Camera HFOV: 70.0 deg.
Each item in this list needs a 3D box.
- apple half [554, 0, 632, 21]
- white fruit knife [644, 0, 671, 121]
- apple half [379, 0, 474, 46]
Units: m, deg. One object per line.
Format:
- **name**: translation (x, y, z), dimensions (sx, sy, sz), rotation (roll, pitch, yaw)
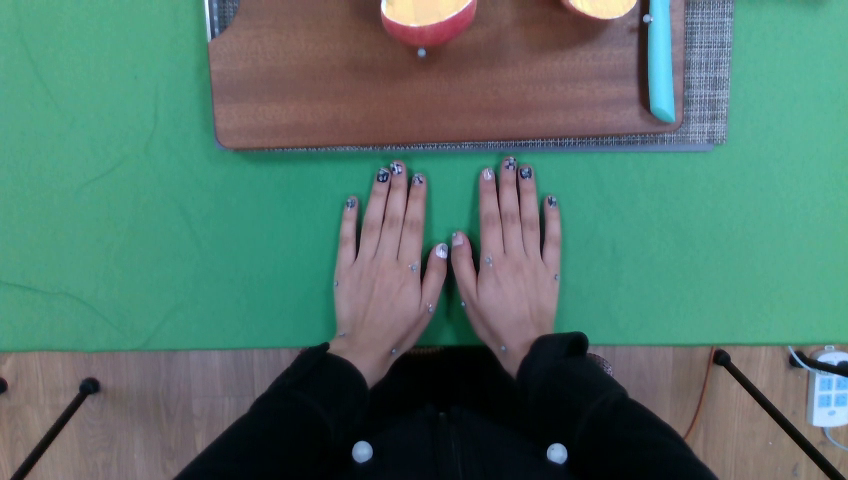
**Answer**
- **apple half**: translation (0.126, -0.208, 0.488), dimensions (0.082, 0.032, 0.081), rotation (3, 82, -23)
- **white fruit knife**: translation (0.194, -0.205, 0.506), dimensions (0.027, 0.016, 0.207), rotation (-8, 98, -31)
- **apple half**: translation (0.001, -0.188, 0.477), dimensions (0.074, 0.053, 0.080), rotation (-11, 75, 2)
